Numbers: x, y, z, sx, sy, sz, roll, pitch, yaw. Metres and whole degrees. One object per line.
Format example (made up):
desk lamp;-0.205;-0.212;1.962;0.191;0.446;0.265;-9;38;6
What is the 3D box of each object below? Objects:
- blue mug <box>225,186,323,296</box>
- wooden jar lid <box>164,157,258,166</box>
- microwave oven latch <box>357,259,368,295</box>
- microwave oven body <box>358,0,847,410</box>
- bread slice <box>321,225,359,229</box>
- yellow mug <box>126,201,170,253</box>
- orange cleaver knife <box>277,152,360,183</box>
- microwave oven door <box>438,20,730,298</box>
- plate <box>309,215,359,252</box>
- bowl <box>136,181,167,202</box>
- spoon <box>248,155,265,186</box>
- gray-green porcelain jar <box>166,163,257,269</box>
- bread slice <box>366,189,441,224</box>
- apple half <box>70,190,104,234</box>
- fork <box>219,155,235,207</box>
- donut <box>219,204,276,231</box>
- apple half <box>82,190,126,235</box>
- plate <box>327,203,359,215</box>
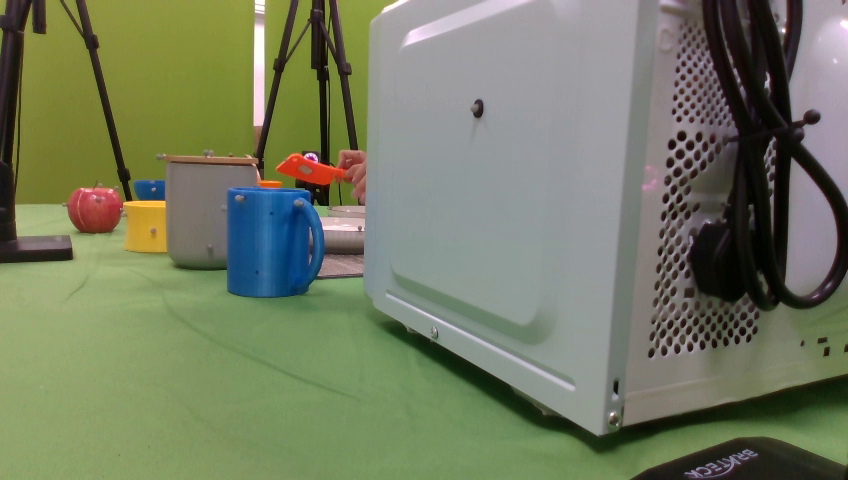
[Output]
blue mug;-0.148;0.000;0.618;0.116;0.106;0.083;7;9;33
wooden jar lid;-0.261;-0.093;0.746;0.108;0.020;0.108;0;9;0
microwave oven latch;-0.019;0.031;0.529;0.079;0.029;0.030;-1;7;-26
microwave oven body;0.210;-0.051;0.471;0.444;0.260;0.324;-1;7;-28
bread slice;-0.124;-0.008;0.938;0.131;0.019;0.105;5;8;33
yellow mug;-0.361;-0.019;0.866;0.130;0.064;0.100;6;9;27
orange cleaver knife;-0.220;-0.153;1.353;0.212;0.012;0.077;10;-39;-34
microwave oven door;0.181;-0.076;0.618;0.358;0.243;0.039;-2;8;-28
plate;-0.130;-0.011;0.945;0.208;0.039;0.207;2;8;0
bowl;-0.497;-0.076;1.221;0.151;0.077;0.151;2;8;0
spoon;-0.417;-0.150;1.543;0.042;0.193;0.021;-4;-35;-34
gray-green porcelain jar;-0.263;-0.031;0.754;0.106;0.126;0.106;2;7;0
bread slice;-0.046;-0.063;1.137;0.107;0.018;0.134;-8;-15;-40
apple half;-0.552;-0.047;1.010;0.053;0.074;0.081;0;10;26
fork;-0.459;-0.134;1.415;0.028;0.018;0.207;-1;-34;-24
donut;-0.316;-0.039;1.083;0.099;0.048;0.099;3;7;0
apple half;-0.516;-0.046;0.994;0.032;0.081;0.081;0;6;26
plate;-0.102;-0.053;1.299;0.209;0.038;0.209;2;8;0
